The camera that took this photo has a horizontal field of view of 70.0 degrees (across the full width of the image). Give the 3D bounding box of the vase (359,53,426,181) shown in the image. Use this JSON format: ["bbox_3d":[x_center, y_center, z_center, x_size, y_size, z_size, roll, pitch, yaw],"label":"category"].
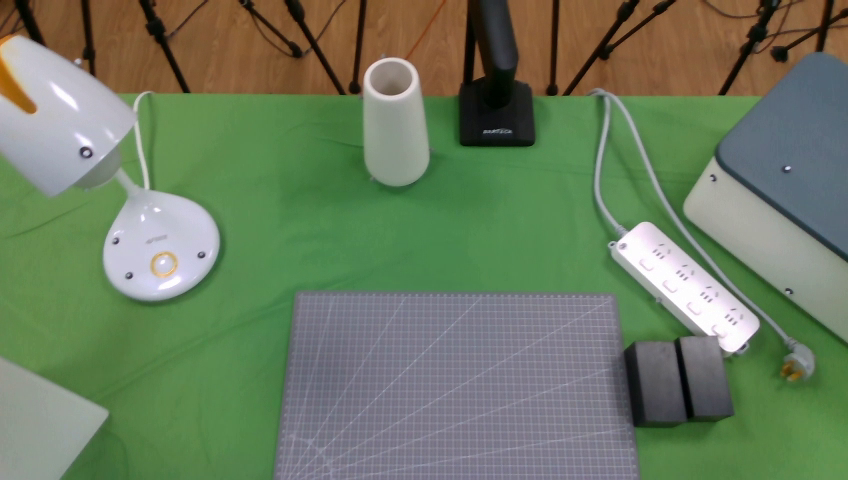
[{"bbox_3d":[-0.045,-0.168,0.851,0.098,0.201,0.097,1,63,-1],"label":"vase"}]

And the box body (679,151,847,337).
[{"bbox_3d":[0.571,-0.049,0.820,0.361,0.161,0.254,42,72,17],"label":"box body"}]

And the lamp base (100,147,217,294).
[{"bbox_3d":[-0.383,-0.040,0.799,0.161,0.181,0.177,-29,66,-13],"label":"lamp base"}]

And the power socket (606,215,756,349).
[{"bbox_3d":[0.355,0.056,0.842,0.072,0.033,0.225,-37,70,-17],"label":"power socket"}]

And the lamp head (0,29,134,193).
[{"bbox_3d":[-0.342,-0.121,0.532,0.112,0.124,0.111,-29,31,20],"label":"lamp head"}]

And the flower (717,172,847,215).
[{"bbox_3d":[0.617,-0.043,0.894,0.358,0.038,0.044,26,57,31],"label":"flower"}]

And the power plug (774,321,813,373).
[{"bbox_3d":[0.483,0.148,0.810,0.053,0.035,0.072,-29,27,-7],"label":"power plug"}]

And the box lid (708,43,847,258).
[{"bbox_3d":[0.572,-0.080,0.752,0.263,0.015,0.369,-42,72,-17],"label":"box lid"}]

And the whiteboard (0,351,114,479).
[{"bbox_3d":[-0.549,0.195,0.652,0.143,0.309,0.216,20,65,30],"label":"whiteboard"}]
